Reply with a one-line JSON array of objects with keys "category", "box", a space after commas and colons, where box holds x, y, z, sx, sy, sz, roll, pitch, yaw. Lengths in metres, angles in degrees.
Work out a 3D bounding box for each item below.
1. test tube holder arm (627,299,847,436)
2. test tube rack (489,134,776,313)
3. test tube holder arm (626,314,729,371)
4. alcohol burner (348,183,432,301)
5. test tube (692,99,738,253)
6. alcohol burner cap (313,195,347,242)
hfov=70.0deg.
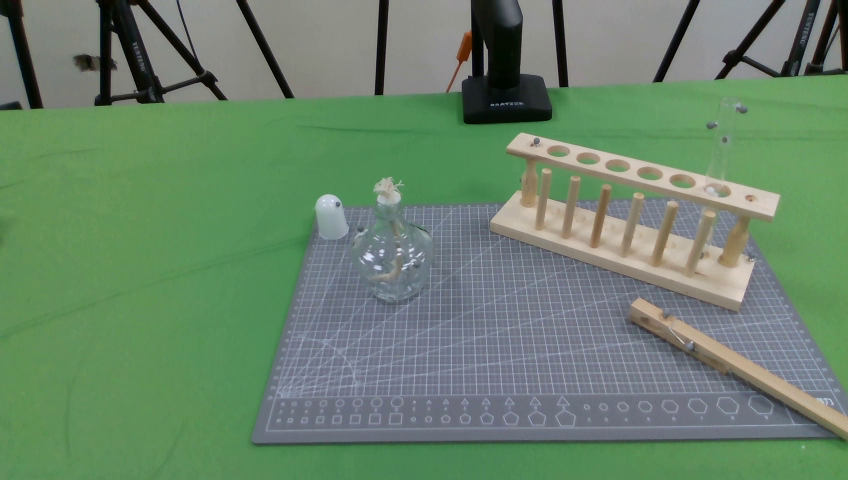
[{"category": "test tube holder arm", "box": [0.242, 0.096, 0.474, 0.176, 0.013, 0.015, 31, 56, 33]}, {"category": "test tube rack", "box": [0.184, -0.022, 0.574, 0.240, 0.086, 0.066, 20, 45, 26]}, {"category": "test tube holder arm", "box": [0.211, 0.082, 0.503, 0.087, 0.010, 0.015, 26, 53, 38]}, {"category": "alcohol burner", "box": [-0.031, -0.002, 0.544, 0.078, 0.120, 0.077, -1, 41, 1]}, {"category": "test tube", "box": [0.249, -0.050, 0.524, 0.017, 0.151, 0.017, -5, 36, 4]}, {"category": "alcohol burner cap", "box": [-0.100, -0.026, 0.634, 0.034, 0.048, 0.033, -1, 40, 1]}]
